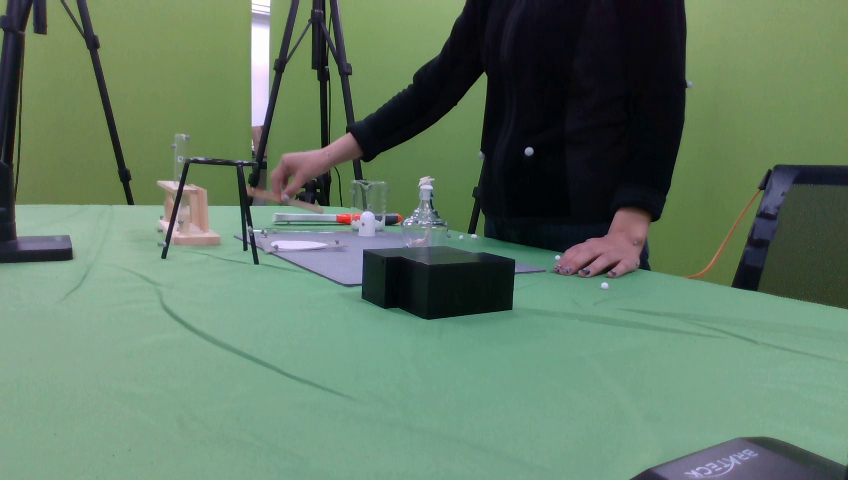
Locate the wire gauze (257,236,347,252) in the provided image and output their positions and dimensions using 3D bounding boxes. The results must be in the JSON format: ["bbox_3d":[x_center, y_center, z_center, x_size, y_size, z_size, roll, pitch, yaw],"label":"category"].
[{"bbox_3d":[-0.190,0.005,0.931,0.122,0.011,0.124,1,7,-21],"label":"wire gauze"}]

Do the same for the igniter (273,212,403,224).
[{"bbox_3d":[-0.179,-0.047,1.290,0.278,0.025,0.057,-1,-2,-24],"label":"igniter"}]

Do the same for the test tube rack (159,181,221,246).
[{"bbox_3d":[-0.395,-0.050,1.010,0.067,0.085,0.241,-1,8,-28],"label":"test tube rack"}]

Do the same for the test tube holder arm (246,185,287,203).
[{"bbox_3d":[-0.293,-0.085,1.121,0.010,0.015,0.088,22,5,40],"label":"test tube holder arm"}]

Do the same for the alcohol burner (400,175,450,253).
[{"bbox_3d":[0.003,-0.040,0.933,0.078,0.119,0.078,2,9,0],"label":"alcohol burner"}]

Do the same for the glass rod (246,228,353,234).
[{"bbox_3d":[-0.225,-0.017,1.110,0.201,0.008,0.008,1,6,-28],"label":"glass rod"}]

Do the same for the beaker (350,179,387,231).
[{"bbox_3d":[-0.111,-0.069,1.204,0.074,0.100,0.084,2,9,0],"label":"beaker"}]

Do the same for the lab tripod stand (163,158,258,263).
[{"bbox_3d":[-0.265,-0.041,0.802,0.148,0.131,0.148,4,6,0],"label":"lab tripod stand"}]

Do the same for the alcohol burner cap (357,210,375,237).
[{"bbox_3d":[-0.104,-0.030,1.098,0.034,0.048,0.034,3,7,0],"label":"alcohol burner cap"}]

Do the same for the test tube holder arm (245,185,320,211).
[{"bbox_3d":[-0.269,-0.079,1.160,0.013,0.015,0.179,22,5,38],"label":"test tube holder arm"}]

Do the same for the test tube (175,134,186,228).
[{"bbox_3d":[-0.388,-0.094,0.964,0.017,0.150,0.017,1,2,0],"label":"test tube"}]
